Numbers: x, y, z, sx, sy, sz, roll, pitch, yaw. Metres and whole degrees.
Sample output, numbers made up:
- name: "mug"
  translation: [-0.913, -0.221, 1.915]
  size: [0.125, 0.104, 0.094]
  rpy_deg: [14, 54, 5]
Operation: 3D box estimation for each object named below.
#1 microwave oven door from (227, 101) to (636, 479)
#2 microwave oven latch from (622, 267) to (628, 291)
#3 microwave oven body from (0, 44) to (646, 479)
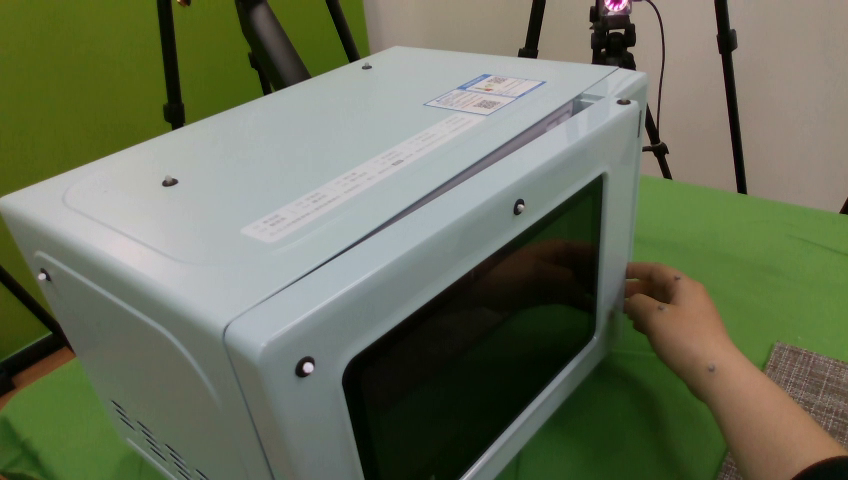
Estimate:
- name: "microwave oven door"
  translation: [0.047, 0.069, 0.433]
  size: [0.039, 0.246, 0.356]
  rpy_deg: [21, 40, 38]
- name: "microwave oven latch"
  translation: [0.186, 0.054, 0.634]
  size: [0.030, 0.030, 0.079]
  rpy_deg: [20, 40, 36]
- name: "microwave oven body"
  translation: [-0.049, 0.015, 0.553]
  size: [0.323, 0.262, 0.441]
  rpy_deg: [18, 39, 34]
